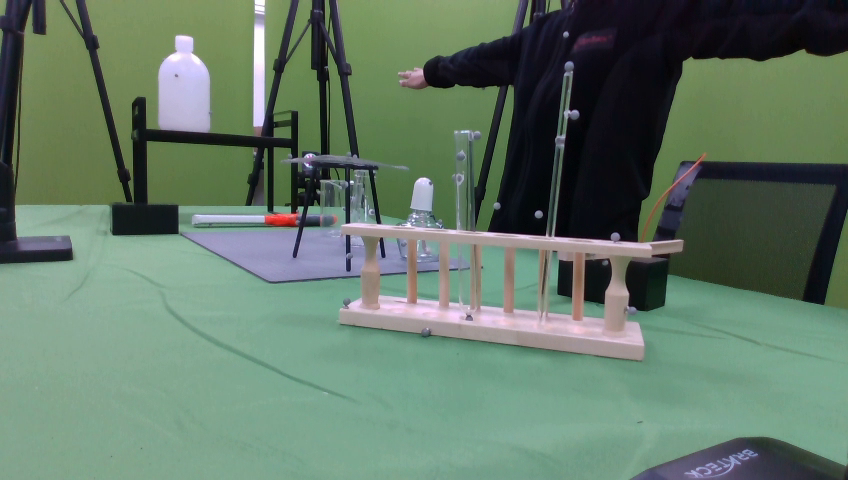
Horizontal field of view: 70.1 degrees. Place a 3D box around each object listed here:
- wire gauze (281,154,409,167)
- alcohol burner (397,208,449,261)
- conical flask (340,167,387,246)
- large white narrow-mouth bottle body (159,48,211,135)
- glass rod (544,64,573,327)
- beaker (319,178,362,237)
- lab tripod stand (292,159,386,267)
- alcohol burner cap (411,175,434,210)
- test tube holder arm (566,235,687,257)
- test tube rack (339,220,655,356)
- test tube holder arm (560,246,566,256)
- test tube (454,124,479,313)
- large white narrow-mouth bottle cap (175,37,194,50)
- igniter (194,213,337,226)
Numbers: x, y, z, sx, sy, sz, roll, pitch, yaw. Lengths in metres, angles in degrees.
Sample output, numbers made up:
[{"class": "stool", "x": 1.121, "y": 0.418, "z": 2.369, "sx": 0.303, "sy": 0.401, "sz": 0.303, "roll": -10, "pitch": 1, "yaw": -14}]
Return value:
[{"class": "wire gauze", "x": -0.104, "y": -0.104, "z": 0.784, "sx": 0.126, "sy": 0.011, "sz": 0.121, "roll": -2, "pitch": 8, "yaw": -38}, {"class": "alcohol burner", "x": -0.002, "y": -0.031, "z": 0.846, "sx": 0.078, "sy": 0.119, "sz": 0.078, "roll": 0, "pitch": 6, "yaw": 0}, {"class": "conical flask", "x": -0.095, "y": -0.054, "z": 0.964, "sx": 0.075, "sy": 0.122, "sz": 0.075, "roll": 2, "pitch": 8, "yaw": 0}, {"class": "large white narrow-mouth bottle body", "x": -0.503, "y": -0.323, "z": 1.275, "sx": 0.102, "sy": 0.194, "sz": 0.102, "roll": 2, "pitch": 7, "yaw": 0}, {"class": "glass rod", "x": 0.101, "y": -0.028, "z": 0.453, "sx": 0.008, "sy": 0.199, "sz": 0.008, "roll": 2, "pitch": 13, "yaw": 0}, {"class": "beaker", "x": -0.148, "y": -0.058, "z": 1.069, "sx": 0.074, "sy": 0.100, "sz": 0.084, "roll": 1, "pitch": 8, "yaw": -8}, {"class": "lab tripod stand", "x": -0.105, "y": -0.039, "z": 0.797, "sx": 0.148, "sy": 0.131, "sz": 0.148, "roll": 2, "pitch": 5, "yaw": 0}, {"class": "alcohol burner cap", "x": 0.000, "y": -0.067, "z": 0.842, "sx": 0.034, "sy": 0.048, "sz": 0.034, "roll": 7, "pitch": 8, "yaw": -1}, {"class": "test tube holder arm", "x": 0.215, "y": 0.006, "z": 0.630, "sx": 0.179, "sy": 0.015, "sz": 0.013, "roll": -3, "pitch": 9, "yaw": -31}, {"class": "test tube rack", "x": 0.056, "y": 0.032, "z": 0.495, "sx": 0.242, "sy": 0.085, "sz": 0.067, "roll": 4, "pitch": 7, "yaw": 15}, {"class": "test tube holder arm", "x": 0.173, "y": 0.007, "z": 0.611, "sx": 0.088, "sy": 0.015, "sz": 0.010, "roll": -3, "pitch": 9, "yaw": -30}, {"class": "test tube", "x": 0.034, "y": -0.015, "z": 0.477, "sx": 0.017, "sy": 0.150, "sz": 0.017, "roll": -2, "pitch": 9, "yaw": 1}, {"class": "large white narrow-mouth bottle cap", "x": -0.501, "y": -0.409, "z": 1.264, "sx": 0.038, "sy": 0.024, "sz": 0.037, "roll": 2, "pitch": 7, "yaw": 0}, {"class": "igniter", "x": -0.306, "y": -0.041, "z": 1.197, "sx": 0.278, "sy": 0.025, "sz": 0.057, "roll": -2, "pitch": -2, "yaw": -30}]
